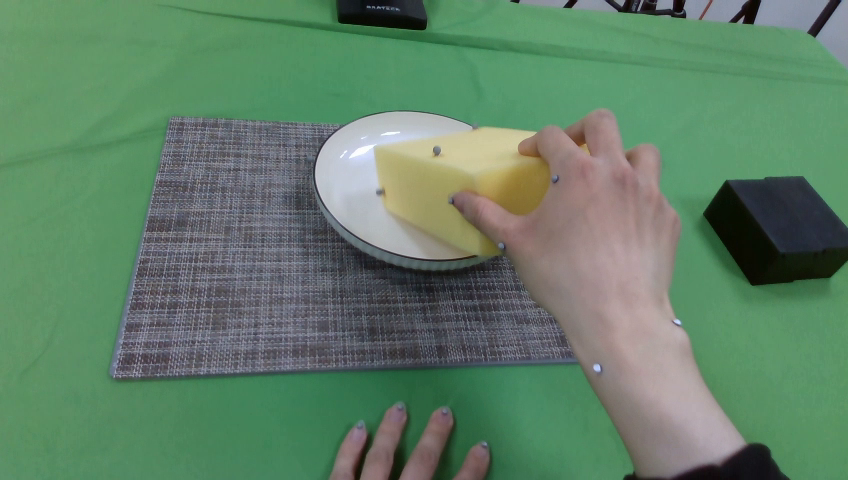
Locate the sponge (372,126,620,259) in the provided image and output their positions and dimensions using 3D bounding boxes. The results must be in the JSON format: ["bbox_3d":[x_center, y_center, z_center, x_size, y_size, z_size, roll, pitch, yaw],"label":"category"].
[{"bbox_3d":[0.046,-0.050,0.496,0.118,0.061,0.205,-13,18,-20],"label":"sponge"}]

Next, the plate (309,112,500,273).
[{"bbox_3d":[-0.004,-0.045,0.578,0.208,0.039,0.205,7,47,-7],"label":"plate"}]
